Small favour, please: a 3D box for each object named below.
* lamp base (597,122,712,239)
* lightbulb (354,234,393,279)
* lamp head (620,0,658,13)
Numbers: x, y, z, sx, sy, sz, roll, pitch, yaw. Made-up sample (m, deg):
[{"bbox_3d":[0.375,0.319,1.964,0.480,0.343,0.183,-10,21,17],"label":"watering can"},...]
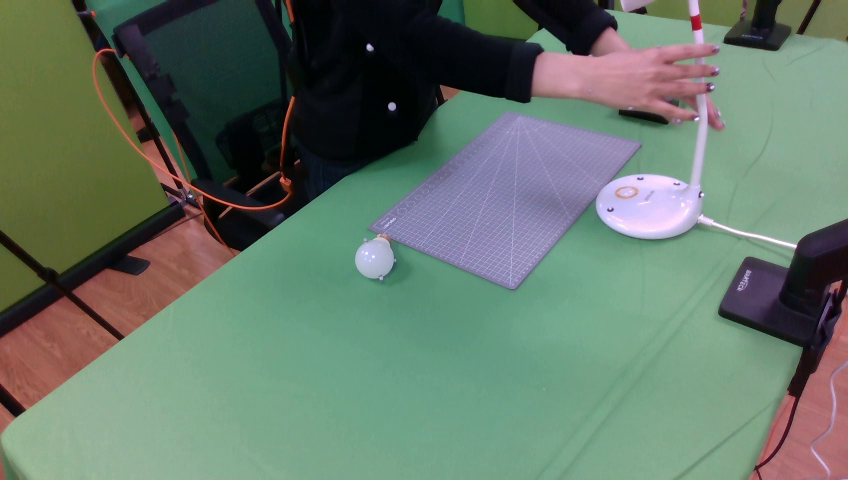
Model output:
[{"bbox_3d":[0.363,-0.112,0.924,0.178,0.181,0.161,17,47,24],"label":"lamp base"},{"bbox_3d":[-0.074,0.020,0.952,0.059,0.060,0.107,-2,25,9],"label":"lightbulb"},{"bbox_3d":[0.283,-0.338,0.714,0.122,0.113,0.112,-9,40,15],"label":"lamp head"}]
